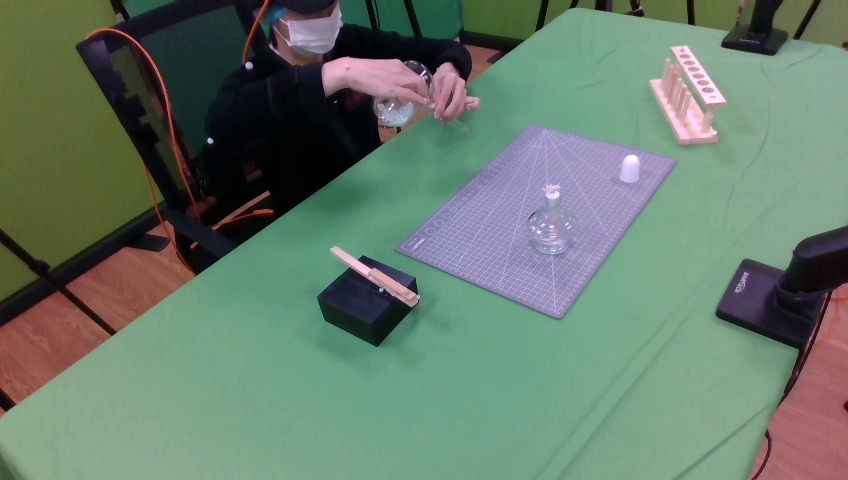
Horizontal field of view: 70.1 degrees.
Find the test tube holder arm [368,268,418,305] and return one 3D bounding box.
[{"bbox_3d":[-0.043,0.063,0.827,0.015,0.010,0.087,-36,47,-29],"label":"test tube holder arm"}]

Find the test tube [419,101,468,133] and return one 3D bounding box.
[{"bbox_3d":[0.039,-0.224,1.113,0.017,0.017,0.151,27,7,35],"label":"test tube"}]

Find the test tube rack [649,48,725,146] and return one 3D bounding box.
[{"bbox_3d":[0.508,-0.285,1.186,0.067,0.085,0.241,-4,40,6],"label":"test tube rack"}]

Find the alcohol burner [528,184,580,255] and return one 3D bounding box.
[{"bbox_3d":[0.196,-0.036,0.911,0.078,0.119,0.077,-6,41,5],"label":"alcohol burner"}]

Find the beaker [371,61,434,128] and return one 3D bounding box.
[{"bbox_3d":[-0.036,-0.237,1.002,0.073,0.084,0.100,1,39,34],"label":"beaker"}]

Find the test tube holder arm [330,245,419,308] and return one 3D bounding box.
[{"bbox_3d":[-0.074,0.049,0.857,0.015,0.013,0.177,-36,48,-29],"label":"test tube holder arm"}]

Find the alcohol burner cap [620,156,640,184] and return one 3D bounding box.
[{"bbox_3d":[0.358,-0.124,1.047,0.034,0.048,0.033,-4,40,4],"label":"alcohol burner cap"}]
